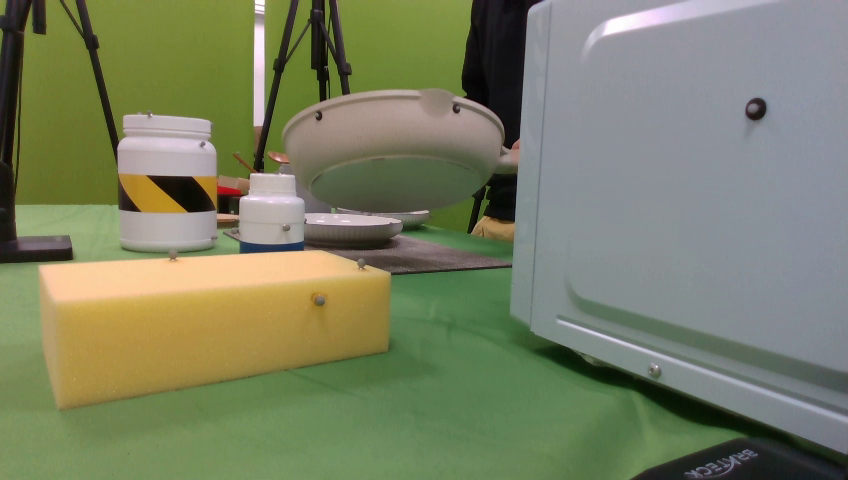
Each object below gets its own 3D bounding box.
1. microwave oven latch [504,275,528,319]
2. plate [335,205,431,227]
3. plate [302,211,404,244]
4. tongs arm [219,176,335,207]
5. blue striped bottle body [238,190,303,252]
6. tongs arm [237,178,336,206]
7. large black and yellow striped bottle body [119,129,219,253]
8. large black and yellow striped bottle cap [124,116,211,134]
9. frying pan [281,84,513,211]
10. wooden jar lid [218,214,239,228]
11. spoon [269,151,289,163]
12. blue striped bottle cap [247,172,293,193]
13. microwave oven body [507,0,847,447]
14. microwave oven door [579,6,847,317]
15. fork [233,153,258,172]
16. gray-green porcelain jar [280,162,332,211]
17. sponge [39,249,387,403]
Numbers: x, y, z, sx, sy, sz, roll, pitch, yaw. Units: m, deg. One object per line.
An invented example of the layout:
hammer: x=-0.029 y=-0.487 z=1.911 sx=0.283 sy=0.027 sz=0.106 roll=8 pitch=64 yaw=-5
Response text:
microwave oven latch: x=0.100 y=0.042 z=0.470 sx=0.079 sy=0.029 sz=0.030 roll=-1 pitch=7 yaw=-26
plate: x=-0.089 y=-0.053 z=1.309 sx=0.208 sy=0.039 sz=0.207 roll=2 pitch=8 yaw=0
plate: x=-0.139 y=-0.022 z=1.021 sx=0.209 sy=0.038 sz=0.209 roll=2 pitch=8 yaw=0
tongs arm: x=-0.286 y=-0.104 z=1.445 sx=0.389 sy=0.027 sz=0.028 roll=9 pitch=-4 yaw=-23
blue striped bottle body: x=-0.153 y=-0.007 z=0.606 sx=0.063 sy=0.120 sz=0.063 roll=2 pitch=7 yaw=0
tongs arm: x=-0.242 y=-0.095 z=1.374 sx=0.387 sy=0.026 sz=0.050 roll=9 pitch=0 yaw=-37
large black and yellow striped bottle body: x=-0.367 y=-0.080 z=0.876 sx=0.131 sy=0.184 sz=0.130 roll=2 pitch=7 yaw=0
large black and yellow striped bottle cap: x=-0.366 y=-0.163 z=0.866 sx=0.115 sy=0.019 sz=0.115 roll=3 pitch=7 yaw=0
frying pan: x=0.057 y=-0.116 z=0.835 sx=0.490 sy=0.102 sz=0.306 roll=-7 pitch=-11 yaw=-23
wooden jar lid: x=-0.404 y=-0.037 z=1.169 sx=0.108 sy=0.020 sz=0.108 roll=3 pitch=7 yaw=0
spoon: x=-0.213 y=-0.169 z=1.221 sx=0.194 sy=0.021 sz=0.041 roll=-4 pitch=28 yaw=-15
blue striped bottle cap: x=-0.152 y=-0.057 z=0.598 sx=0.044 sy=0.020 sz=0.044 roll=3 pitch=6 yaw=0
microwave oven body: x=0.331 y=-0.042 z=0.425 sx=0.444 sy=0.260 sz=0.324 roll=-2 pitch=8 yaw=-31
microwave oven door: x=0.294 y=-0.067 z=0.570 sx=0.358 sy=0.243 sz=0.039 roll=-3 pitch=9 yaw=-31
fork: x=-0.396 y=-0.143 z=1.486 sx=0.028 sy=0.018 sz=0.208 roll=21 pitch=-25 yaw=45
gray-green porcelain jar: x=-0.238 y=-0.092 z=1.221 sx=0.106 sy=0.126 sz=0.106 roll=2 pitch=8 yaw=0
sponge: x=-0.142 y=0.047 z=0.419 sx=0.208 sy=0.061 sz=0.117 roll=-3 pitch=8 yaw=-36
